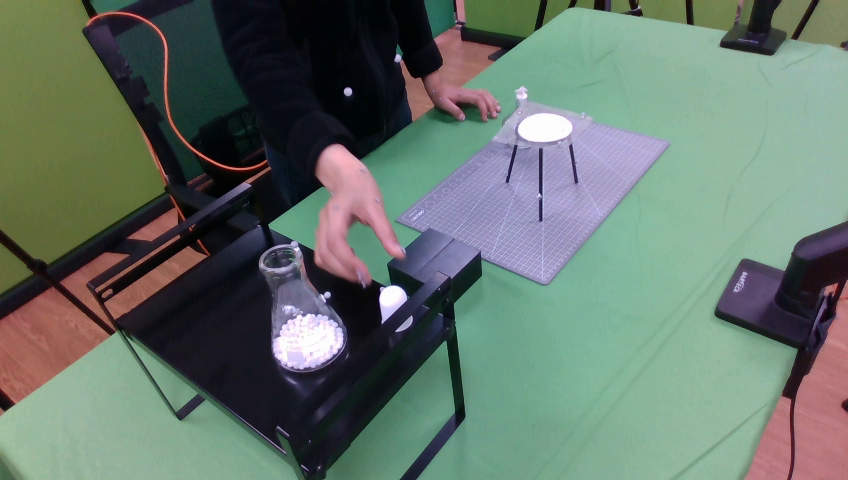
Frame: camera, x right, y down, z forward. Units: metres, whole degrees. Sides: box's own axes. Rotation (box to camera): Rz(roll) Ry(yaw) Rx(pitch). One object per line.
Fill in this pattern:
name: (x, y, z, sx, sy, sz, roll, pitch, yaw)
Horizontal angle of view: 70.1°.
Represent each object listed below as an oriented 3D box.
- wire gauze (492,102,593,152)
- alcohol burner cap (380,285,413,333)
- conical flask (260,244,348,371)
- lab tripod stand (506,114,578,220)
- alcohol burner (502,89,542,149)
wire gauze: (0.190, -0.180, 0.964, 0.120, 0.011, 0.125, 19, 48, 27)
alcohol burner cap: (-0.029, 0.067, 0.605, 0.034, 0.048, 0.033, -4, 39, 4)
conical flask: (-0.118, 0.060, 0.565, 0.075, 0.122, 0.075, -5, 41, 4)
lab tripod stand: (0.198, -0.128, 1.005, 0.148, 0.132, 0.147, -3, 42, 3)
alcohol burner: (0.186, -0.235, 1.149, 0.078, 0.119, 0.077, -5, 42, 5)
